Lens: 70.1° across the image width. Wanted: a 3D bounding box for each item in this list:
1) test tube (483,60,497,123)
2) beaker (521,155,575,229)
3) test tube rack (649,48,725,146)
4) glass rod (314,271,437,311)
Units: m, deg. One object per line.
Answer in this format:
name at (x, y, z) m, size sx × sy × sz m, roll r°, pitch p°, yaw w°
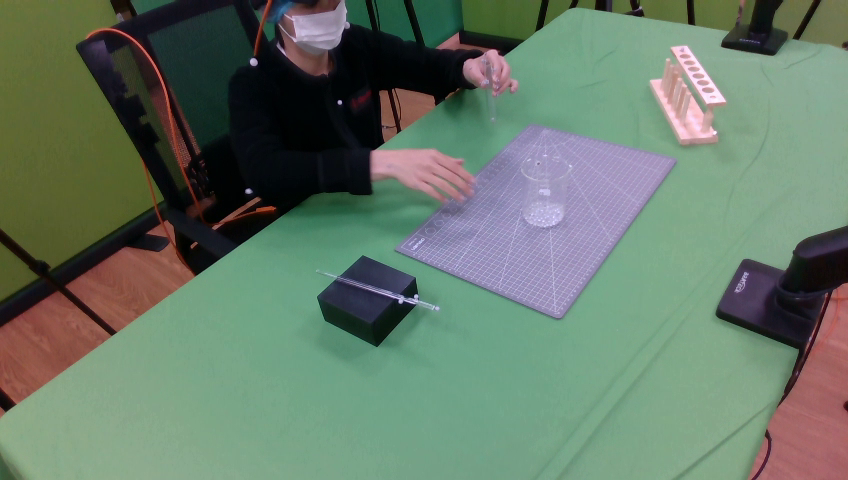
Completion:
test tube at (0.118, -0.262, 1.085) m, size 0.017 × 0.151 × 0.017 m, roll -4°, pitch 60°, yaw 8°
beaker at (0.197, -0.075, 0.969) m, size 0.084 × 0.101 × 0.073 m, roll -6°, pitch 40°, yaw 2°
test tube rack at (0.508, -0.285, 1.186) m, size 0.067 × 0.085 × 0.241 m, roll -4°, pitch 40°, yaw 6°
glass rod at (-0.072, 0.069, 0.837) m, size 0.198 × 0.008 × 0.008 m, roll 14°, pitch 44°, yaw 24°
